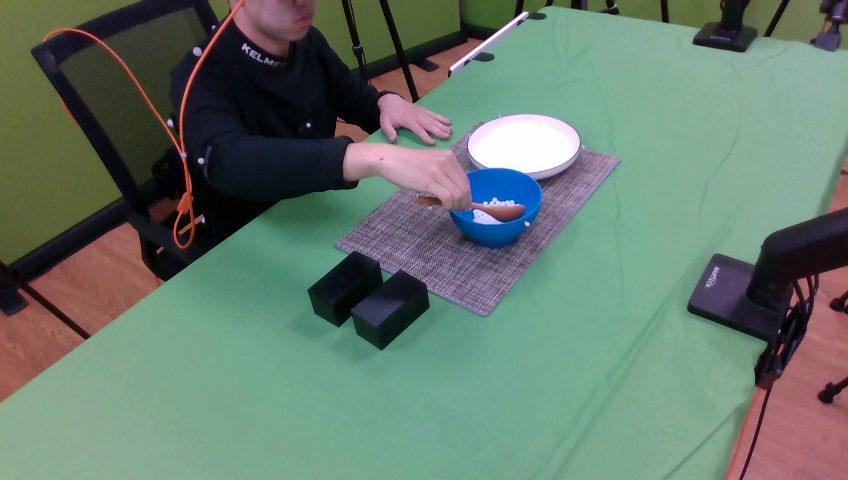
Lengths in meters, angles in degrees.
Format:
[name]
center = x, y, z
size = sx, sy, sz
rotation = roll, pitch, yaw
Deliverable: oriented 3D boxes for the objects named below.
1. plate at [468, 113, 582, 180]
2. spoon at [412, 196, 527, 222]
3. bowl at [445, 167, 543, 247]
[plate]
center = 0.186, -0.169, 1.122
size = 0.207, 0.039, 0.206
rotation = -4, 40, 4
[spoon]
center = 0.069, -0.049, 0.878
size = 0.195, 0.041, 0.021
rotation = 7, 53, -26
[bowl]
center = 0.111, -0.042, 0.952
size = 0.151, 0.077, 0.150
rotation = -4, 41, 4
